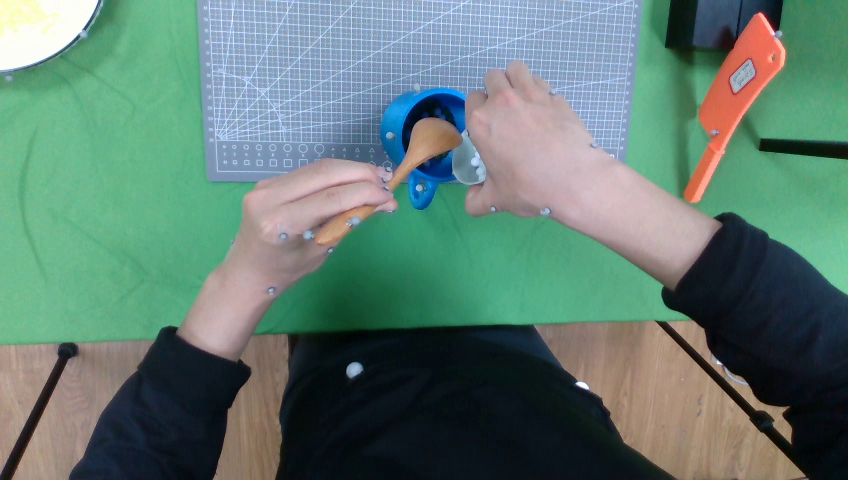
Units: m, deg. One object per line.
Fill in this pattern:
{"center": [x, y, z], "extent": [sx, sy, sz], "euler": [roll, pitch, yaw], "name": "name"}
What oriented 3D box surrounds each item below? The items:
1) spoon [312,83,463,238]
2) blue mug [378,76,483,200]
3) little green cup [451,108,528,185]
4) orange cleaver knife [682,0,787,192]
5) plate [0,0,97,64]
{"center": [-0.022, -0.062, 0.442], "extent": [0.041, 0.022, 0.193], "euler": [37, 56, -1], "name": "spoon"}
{"center": [0.001, -0.097, 0.583], "extent": [0.082, 0.105, 0.117], "euler": [7, 103, -14], "name": "blue mug"}
{"center": [0.057, -0.077, 0.517], "extent": [0.039, 0.061, 0.061], "euler": [18, 100, -38], "name": "little green cup"}
{"center": [0.323, -0.148, 0.657], "extent": [0.012, 0.076, 0.213], "euler": [-2, 136, -13], "name": "orange cleaver knife"}
{"center": [-0.370, -0.252, 0.494], "extent": [0.210, 0.038, 0.210], "euler": [-3, 105, -12], "name": "plate"}
